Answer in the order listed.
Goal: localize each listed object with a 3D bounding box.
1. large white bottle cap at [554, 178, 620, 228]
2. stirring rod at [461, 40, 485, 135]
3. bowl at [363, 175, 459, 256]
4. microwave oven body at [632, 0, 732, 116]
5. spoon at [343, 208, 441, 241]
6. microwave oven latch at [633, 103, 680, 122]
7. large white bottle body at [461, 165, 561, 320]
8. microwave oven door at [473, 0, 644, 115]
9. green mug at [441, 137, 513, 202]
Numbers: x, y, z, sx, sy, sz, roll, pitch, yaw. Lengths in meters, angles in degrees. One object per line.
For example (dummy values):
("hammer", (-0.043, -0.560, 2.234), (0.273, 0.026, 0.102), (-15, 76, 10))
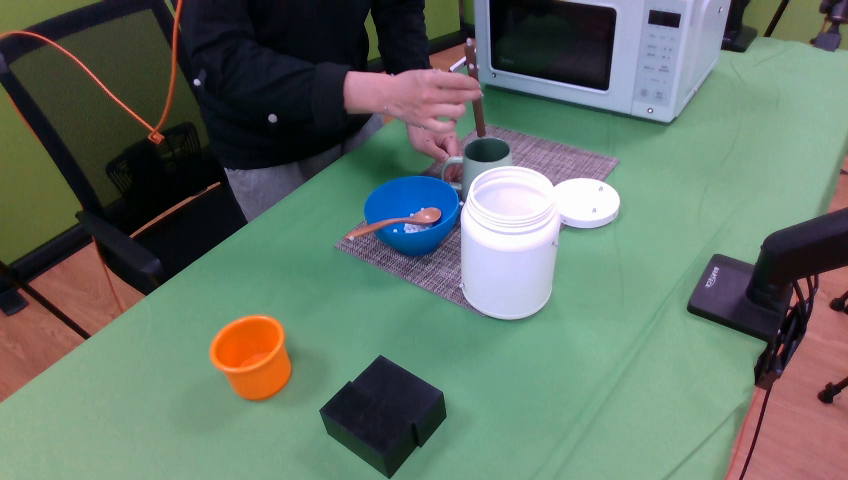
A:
("large white bottle cap", (0.265, -0.063, 1.001), (0.115, 0.018, 0.114), (-3, 42, 3))
("stirring rod", (0.072, -0.213, 0.866), (0.014, 0.177, 0.006), (-24, 55, -3))
("bowl", (-0.017, -0.028, 0.955), (0.151, 0.077, 0.150), (-4, 40, 4))
("microwave oven body", (0.377, -0.463, 1.267), (0.438, 0.261, 0.327), (21, 49, 30))
("spoon", (-0.046, -0.025, 0.912), (0.041, 0.021, 0.195), (26, 27, 37))
("microwave oven latch", (0.443, -0.249, 1.157), (0.078, 0.029, 0.030), (20, 48, 29))
("large white bottle body", (0.115, 0.004, 0.816), (0.130, 0.185, 0.130), (-2, 43, 2))
("microwave oven door", (0.257, -0.396, 1.199), (0.353, 0.245, 0.039), (21, 48, 29))
("green mug", (0.090, -0.107, 1.012), (0.125, 0.105, 0.092), (2, 41, 11))
